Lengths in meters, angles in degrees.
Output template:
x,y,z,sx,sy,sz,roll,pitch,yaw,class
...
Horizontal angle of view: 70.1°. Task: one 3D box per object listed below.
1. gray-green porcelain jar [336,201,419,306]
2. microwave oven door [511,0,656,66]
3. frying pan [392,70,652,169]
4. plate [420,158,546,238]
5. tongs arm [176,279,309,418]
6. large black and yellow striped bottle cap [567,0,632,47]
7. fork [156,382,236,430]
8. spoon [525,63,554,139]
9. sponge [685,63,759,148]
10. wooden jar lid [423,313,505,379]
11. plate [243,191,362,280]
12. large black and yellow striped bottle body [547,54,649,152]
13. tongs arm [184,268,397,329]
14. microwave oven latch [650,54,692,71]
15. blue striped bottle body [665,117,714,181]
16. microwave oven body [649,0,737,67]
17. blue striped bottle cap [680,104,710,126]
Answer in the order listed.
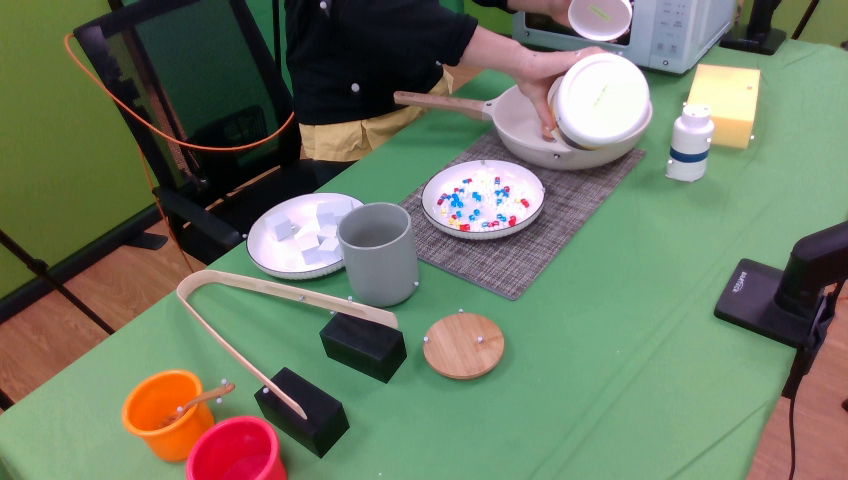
x,y,z,sx,sy,sz,roll,pitch,yaw,class
-0.064,0.024,0.872,0.106,0.127,0.105,-4,41,4,gray-green porcelain jar
0.351,-0.540,1.349,0.353,0.245,0.039,24,50,31,microwave oven door
0.175,-0.249,1.166,0.487,0.103,0.306,12,43,9,frying pan
0.099,-0.067,1.017,0.209,0.038,0.208,-4,40,4,plate
-0.254,0.132,0.801,0.028,0.028,0.384,-41,40,-23,tongs arm
0.319,-0.412,1.105,0.114,0.115,0.019,8,38,17,large black and yellow striped bottle cap
-0.262,0.190,0.690,0.018,0.206,0.028,49,43,-7,fork
0.232,-0.280,1.206,0.041,0.022,0.193,-15,69,7,spoon
0.569,-0.263,1.164,0.117,0.061,0.207,12,45,22,sponge
0.053,0.142,0.800,0.108,0.021,0.108,-5,39,4,wooden jar lid
-0.188,-0.005,0.992,0.207,0.039,0.206,-4,41,4,plate
0.266,-0.208,0.957,0.131,0.130,0.184,-4,3,4,large black and yellow striped bottle body
-0.202,0.084,0.848,0.382,0.027,0.051,11,45,35,tongs arm
0.530,-0.386,1.301,0.078,0.029,0.030,23,50,31,microwave oven latch
0.449,-0.165,1.022,0.063,0.121,0.063,-5,41,4,blue striped bottle body
0.475,-0.602,1.411,0.438,0.261,0.327,23,50,32,microwave oven body
0.443,-0.205,0.989,0.044,0.021,0.044,-1,41,1,blue striped bottle cap
